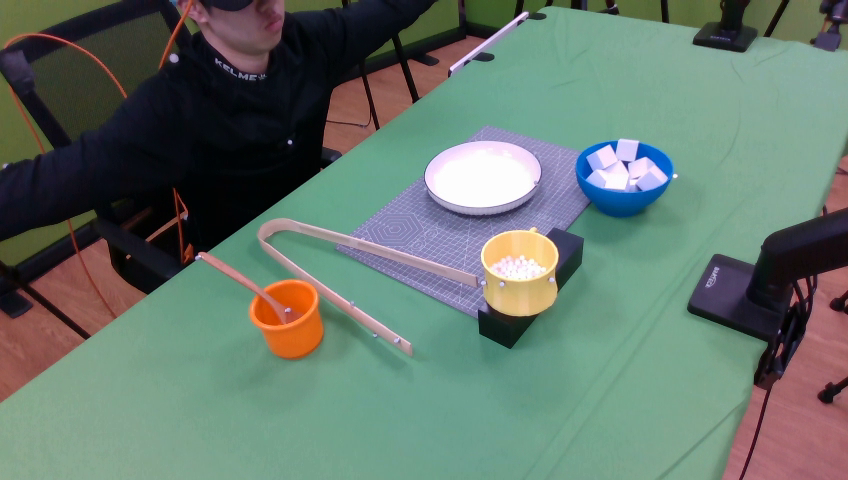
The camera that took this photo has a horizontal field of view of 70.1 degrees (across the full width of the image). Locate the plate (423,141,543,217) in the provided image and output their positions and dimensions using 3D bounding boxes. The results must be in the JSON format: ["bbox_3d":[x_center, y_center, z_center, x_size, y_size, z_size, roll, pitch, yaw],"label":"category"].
[{"bbox_3d":[0.103,-0.103,1.059,0.207,0.039,0.206,-4,40,4],"label":"plate"}]

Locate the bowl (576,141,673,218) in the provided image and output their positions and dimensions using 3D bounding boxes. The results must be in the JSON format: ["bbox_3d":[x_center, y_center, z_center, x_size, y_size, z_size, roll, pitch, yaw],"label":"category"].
[{"bbox_3d":[0.321,-0.089,0.984,0.151,0.077,0.150,-4,40,4],"label":"bowl"}]

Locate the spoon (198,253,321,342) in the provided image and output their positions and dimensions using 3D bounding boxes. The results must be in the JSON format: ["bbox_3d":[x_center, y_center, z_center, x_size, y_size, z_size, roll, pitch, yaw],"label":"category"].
[{"bbox_3d":[-0.220,0.076,0.814,0.021,0.194,0.041,-37,18,38],"label":"spoon"}]

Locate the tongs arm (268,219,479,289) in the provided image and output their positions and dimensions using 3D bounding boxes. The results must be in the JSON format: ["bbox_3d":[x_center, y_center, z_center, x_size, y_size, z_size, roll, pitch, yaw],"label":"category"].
[{"bbox_3d":[-0.090,0.018,0.953,0.385,0.028,0.028,15,50,26],"label":"tongs arm"}]

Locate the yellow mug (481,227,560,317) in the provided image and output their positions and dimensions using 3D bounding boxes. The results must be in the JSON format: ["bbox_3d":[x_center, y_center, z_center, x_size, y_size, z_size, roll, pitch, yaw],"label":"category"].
[{"bbox_3d":[0.132,0.032,0.801,0.099,0.064,0.131,11,43,20],"label":"yellow mug"}]

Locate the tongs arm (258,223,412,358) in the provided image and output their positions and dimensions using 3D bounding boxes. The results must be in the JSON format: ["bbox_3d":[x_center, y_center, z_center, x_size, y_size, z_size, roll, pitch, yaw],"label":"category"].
[{"bbox_3d":[-0.141,0.063,0.905,0.381,0.026,0.051,27,52,35],"label":"tongs arm"}]
